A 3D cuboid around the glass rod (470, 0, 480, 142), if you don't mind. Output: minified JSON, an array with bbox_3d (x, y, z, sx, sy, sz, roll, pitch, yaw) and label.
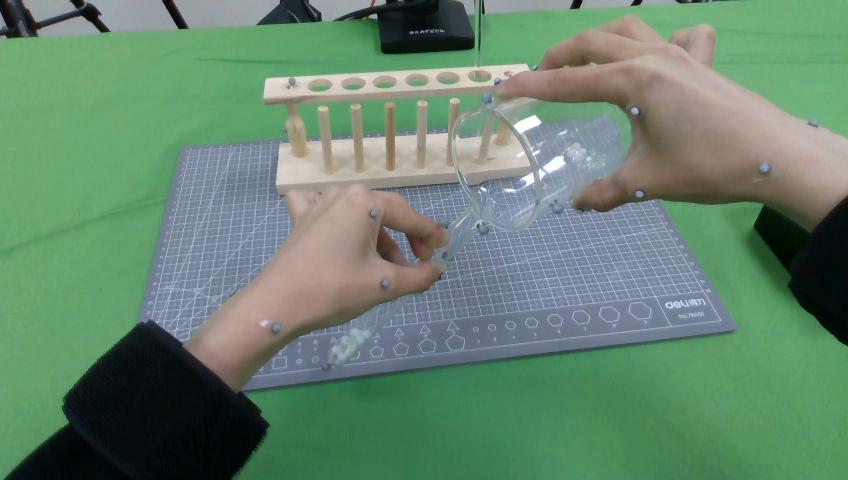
[{"bbox_3d":[0.046,-0.179,0.549,0.008,0.201,0.008,-1,39,1],"label":"glass rod"}]

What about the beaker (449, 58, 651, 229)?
[{"bbox_3d":[0.076,-0.058,0.357,0.100,0.084,0.073,-27,67,-25],"label":"beaker"}]

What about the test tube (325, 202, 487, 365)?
[{"bbox_3d":[-0.015,0.032,0.394,0.150,0.017,0.017,-46,46,18],"label":"test tube"}]

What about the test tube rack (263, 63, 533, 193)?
[{"bbox_3d":[-0.021,-0.105,0.569,0.243,0.086,0.066,-5,46,-5],"label":"test tube rack"}]
